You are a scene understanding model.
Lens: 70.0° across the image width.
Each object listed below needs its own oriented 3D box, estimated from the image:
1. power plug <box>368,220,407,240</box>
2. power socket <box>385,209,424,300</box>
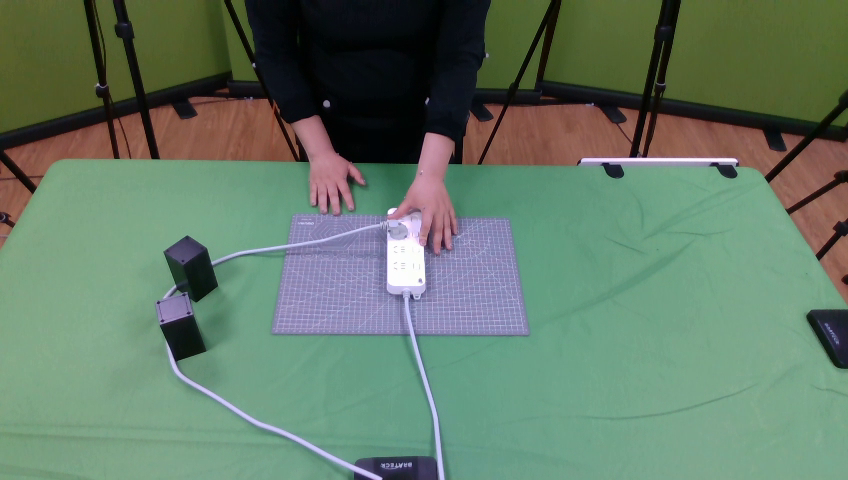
[{"bbox_3d":[-0.068,-0.017,1.172,0.072,0.053,0.035,7,44,5],"label":"power plug"},{"bbox_3d":[-0.038,0.019,1.165,0.072,0.033,0.225,0,46,-3],"label":"power socket"}]
